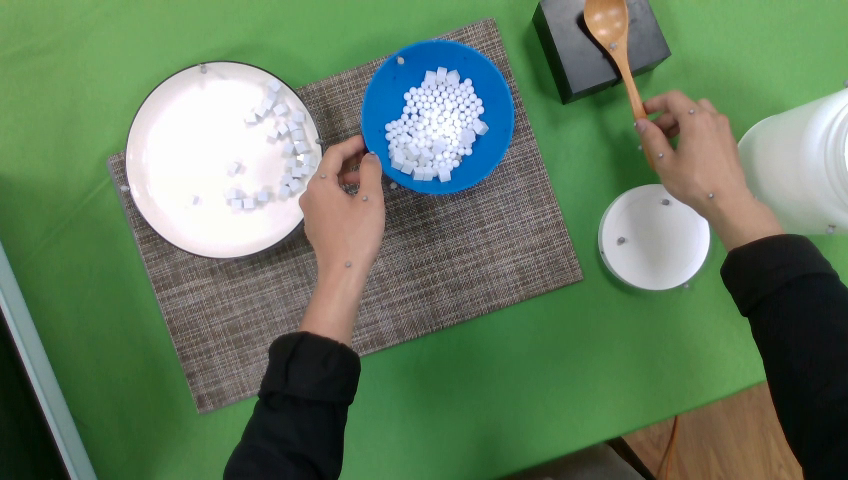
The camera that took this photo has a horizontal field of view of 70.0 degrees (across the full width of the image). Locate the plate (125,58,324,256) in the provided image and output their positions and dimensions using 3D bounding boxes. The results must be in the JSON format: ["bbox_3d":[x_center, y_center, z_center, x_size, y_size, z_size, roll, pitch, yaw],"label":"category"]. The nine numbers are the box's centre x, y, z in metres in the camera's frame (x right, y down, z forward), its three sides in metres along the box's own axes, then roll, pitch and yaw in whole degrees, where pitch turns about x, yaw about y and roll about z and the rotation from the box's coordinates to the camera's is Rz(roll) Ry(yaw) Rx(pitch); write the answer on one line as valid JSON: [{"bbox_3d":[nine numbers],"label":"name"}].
[{"bbox_3d":[-0.208,-0.086,0.647,0.209,0.038,0.209,0,91,1],"label":"plate"}]

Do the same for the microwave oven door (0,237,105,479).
[{"bbox_3d":[-0.411,0.160,0.541,0.039,0.244,0.355,-22,91,2],"label":"microwave oven door"}]

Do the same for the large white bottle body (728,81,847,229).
[{"bbox_3d":[0.388,-0.077,0.567,0.130,0.184,0.130,0,90,1],"label":"large white bottle body"}]

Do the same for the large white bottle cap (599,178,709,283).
[{"bbox_3d":[0.249,-0.010,0.655,0.115,0.018,0.115,0,91,0],"label":"large white bottle cap"}]

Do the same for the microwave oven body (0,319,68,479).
[{"bbox_3d":[-0.563,0.175,0.549,0.326,0.260,0.441,-22,91,1],"label":"microwave oven body"}]

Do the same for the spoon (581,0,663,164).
[{"bbox_3d":[0.205,-0.164,0.610,0.041,0.021,0.194,-24,101,4],"label":"spoon"}]

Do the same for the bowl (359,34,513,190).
[{"bbox_3d":[0.013,-0.124,0.622,0.151,0.077,0.151,0,92,2],"label":"bowl"}]
